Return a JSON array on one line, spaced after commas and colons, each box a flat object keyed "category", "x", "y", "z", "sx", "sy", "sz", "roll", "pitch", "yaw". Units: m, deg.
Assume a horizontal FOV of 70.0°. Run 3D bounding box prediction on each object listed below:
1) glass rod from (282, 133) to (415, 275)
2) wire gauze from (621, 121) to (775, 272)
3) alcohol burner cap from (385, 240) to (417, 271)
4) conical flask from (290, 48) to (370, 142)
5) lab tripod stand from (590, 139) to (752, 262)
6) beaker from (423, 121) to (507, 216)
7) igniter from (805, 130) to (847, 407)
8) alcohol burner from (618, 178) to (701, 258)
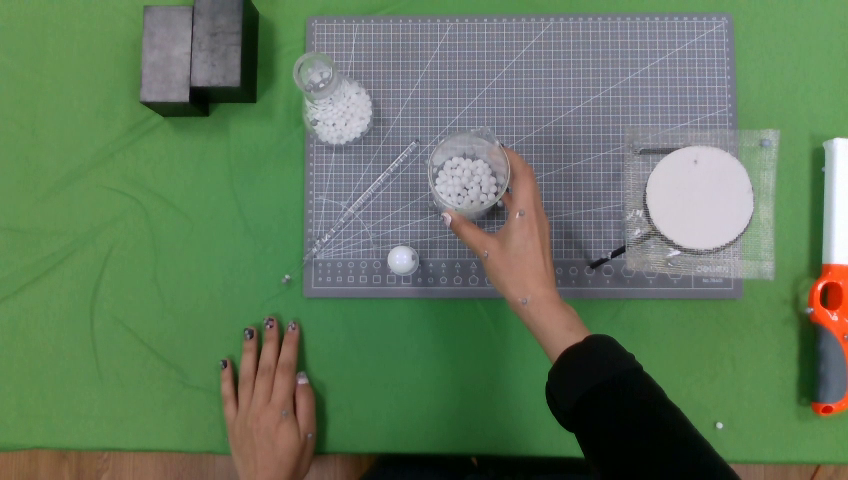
[{"category": "glass rod", "x": -0.078, "y": -0.038, "z": 0.629, "sx": 0.008, "sy": 0.008, "sz": 0.199, "roll": 43, "pitch": 88, "yaw": 4}, {"category": "wire gauze", "x": 0.223, "y": -0.036, "z": 0.493, "sx": 0.125, "sy": 0.011, "sz": 0.121, "roll": 2, "pitch": 88, "yaw": 2}, {"category": "alcohol burner cap", "x": -0.024, "y": 0.014, "z": 0.609, "sx": 0.034, "sy": 0.048, "sz": 0.034, "roll": 0, "pitch": 87, "yaw": 1}, {"category": "conical flask", "x": -0.095, "y": -0.143, "z": 0.580, "sx": 0.075, "sy": 0.122, "sz": 0.075, "roll": 0, "pitch": 86, "yaw": 2}, {"category": "lab tripod stand", "x": 0.224, "y": -0.030, "z": 0.560, "sx": 0.148, "sy": 0.131, "sz": 0.148, "roll": 0, "pitch": 88, "yaw": 2}, {"category": "beaker", "x": 0.039, "y": -0.064, "z": 0.581, "sx": 0.074, "sy": 0.100, "sz": 0.084, "roll": 23, "pitch": 87, "yaw": 2}, {"category": "igniter", "x": 0.411, "y": 0.028, "z": 0.608, "sx": 0.057, "sy": 0.025, "sz": 0.276, "roll": 5, "pitch": 87, "yaw": -9}, {"category": "alcohol burner", "x": 0.226, "y": -0.023, "z": 0.570, "sx": 0.078, "sy": 0.119, "sz": 0.078, "roll": 0, "pitch": 86, "yaw": 4}]
